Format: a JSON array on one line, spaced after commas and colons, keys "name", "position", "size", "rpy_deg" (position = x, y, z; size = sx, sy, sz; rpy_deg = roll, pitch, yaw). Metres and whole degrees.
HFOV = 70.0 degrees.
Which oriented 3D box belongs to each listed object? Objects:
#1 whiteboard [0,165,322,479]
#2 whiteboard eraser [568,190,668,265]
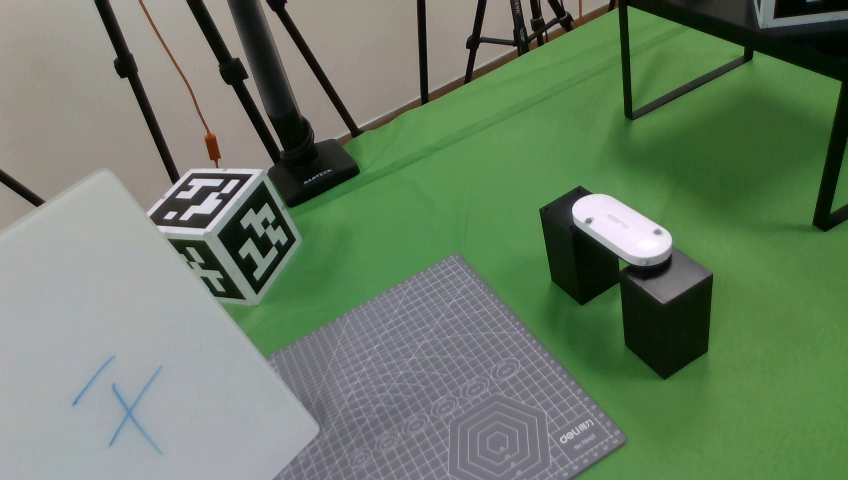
[{"name": "whiteboard", "position": [-0.279, 0.123, 0.527], "size": [0.217, 0.308, 0.143], "rpy_deg": [-43, 26, -24]}, {"name": "whiteboard eraser", "position": [0.165, -0.014, 0.525], "size": [0.041, 0.019, 0.100], "rpy_deg": [-30, 42, -13]}]
